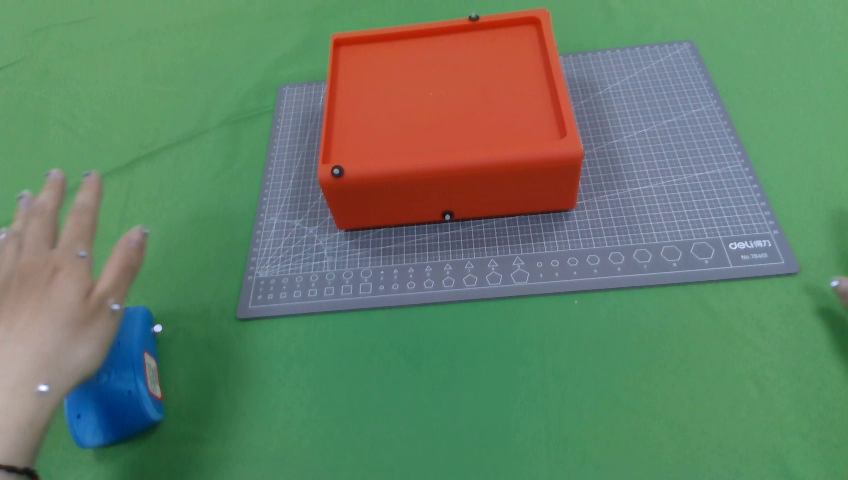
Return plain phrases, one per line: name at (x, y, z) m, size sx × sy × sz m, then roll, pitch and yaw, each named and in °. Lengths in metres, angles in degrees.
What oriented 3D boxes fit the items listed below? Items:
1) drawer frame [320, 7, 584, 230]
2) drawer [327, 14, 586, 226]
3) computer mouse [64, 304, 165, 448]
drawer frame at (0.024, -0.114, 0.557) m, size 0.213 × 0.083 × 0.199 m, roll -6°, pitch 54°, yaw 5°
drawer at (0.027, -0.113, 0.557) m, size 0.211 × 0.074 × 0.192 m, roll -5°, pitch 54°, yaw 5°
computer mouse at (-0.240, 0.099, 0.469) m, size 0.063 × 0.041 × 0.116 m, roll -21°, pitch 50°, yaw -5°
